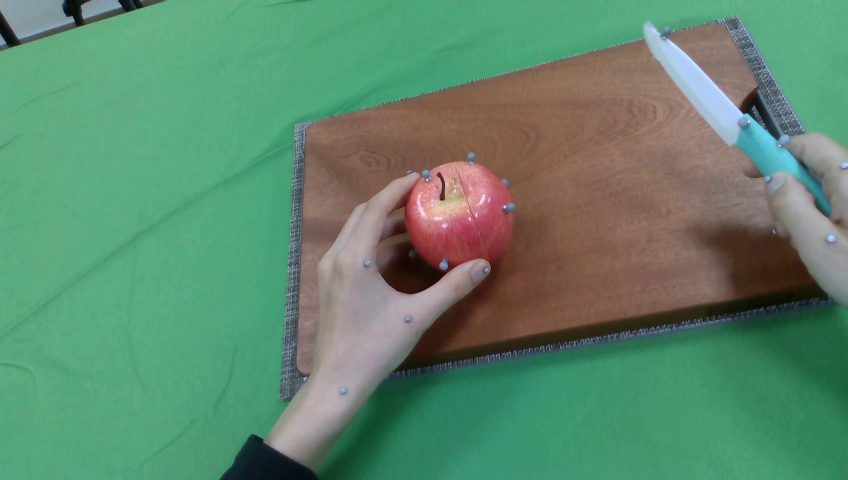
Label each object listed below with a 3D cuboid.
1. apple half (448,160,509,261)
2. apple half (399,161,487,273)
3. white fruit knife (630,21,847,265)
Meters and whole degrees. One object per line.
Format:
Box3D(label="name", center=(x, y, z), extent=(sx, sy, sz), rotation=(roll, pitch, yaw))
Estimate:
Box3D(label="apple half", center=(0.046, -0.025, 0.448), extent=(0.033, 0.082, 0.080), rotation=(-23, 55, 6))
Box3D(label="apple half", center=(0.010, -0.011, 0.452), extent=(0.053, 0.075, 0.080), rotation=(-22, 59, 6))
Box3D(label="white fruit knife", center=(0.205, -0.071, 0.400), extent=(0.016, 0.027, 0.206), rotation=(-27, 73, -35))
